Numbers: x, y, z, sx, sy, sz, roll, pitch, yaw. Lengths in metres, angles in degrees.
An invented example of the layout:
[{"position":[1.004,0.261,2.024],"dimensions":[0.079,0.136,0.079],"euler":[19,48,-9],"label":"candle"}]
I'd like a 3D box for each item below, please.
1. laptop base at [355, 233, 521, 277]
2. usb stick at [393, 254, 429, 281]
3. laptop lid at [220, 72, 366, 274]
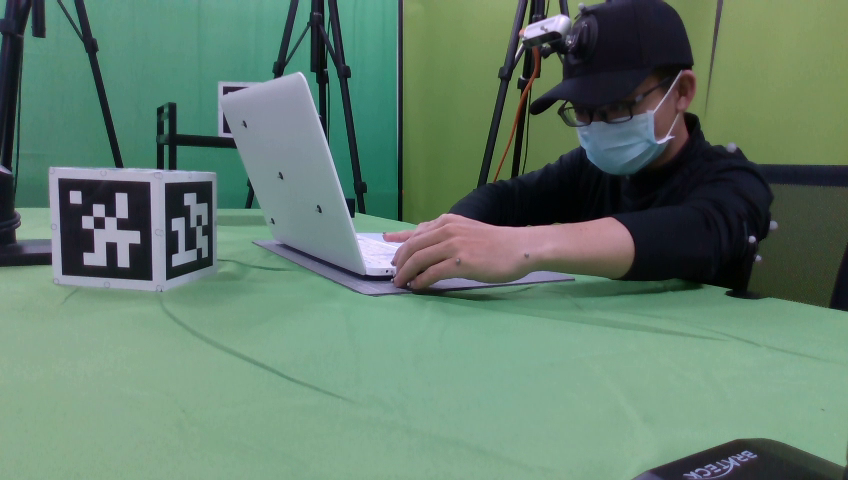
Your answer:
[{"position":[-0.056,0.018,0.898],"dimensions":[0.237,0.023,0.352],"euler":[2,6,-32],"label":"laptop base"},{"position":[-0.020,0.030,0.697],"dimensions":[0.021,0.027,0.059],"euler":[-5,5,-35],"label":"usb stick"},{"position":[-0.188,-0.087,0.801],"dimensions":[0.013,0.242,0.355],"euler":[-26,21,-26],"label":"laptop lid"}]
